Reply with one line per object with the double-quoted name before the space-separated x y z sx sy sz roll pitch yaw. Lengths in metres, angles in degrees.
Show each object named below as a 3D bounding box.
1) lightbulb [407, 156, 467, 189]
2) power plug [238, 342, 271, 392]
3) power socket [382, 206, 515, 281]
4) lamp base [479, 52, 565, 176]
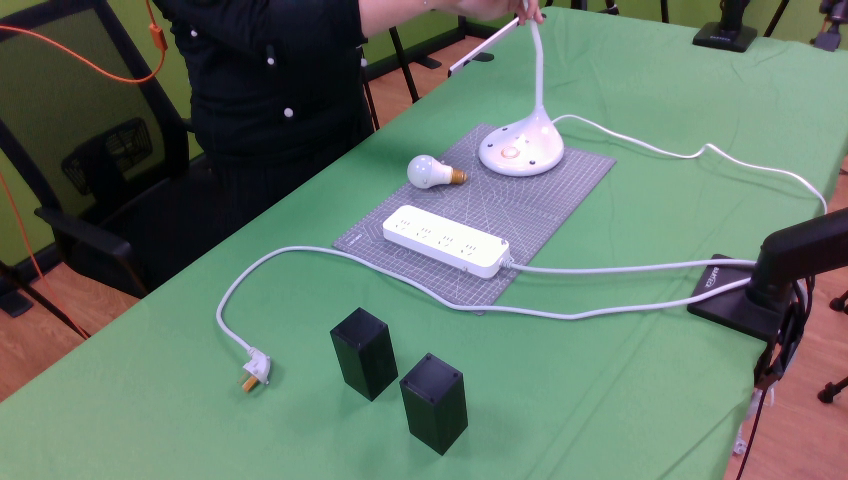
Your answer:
"lightbulb" 0.023 -0.117 1.081 0.108 0.059 0.059 7 40 -7
"power plug" -0.230 0.171 0.801 0.072 0.035 0.053 10 52 50
"power socket" 0.032 0.002 0.950 0.225 0.033 0.072 21 49 29
"lamp base" 0.181 -0.235 1.093 0.159 0.181 0.179 18 44 27
